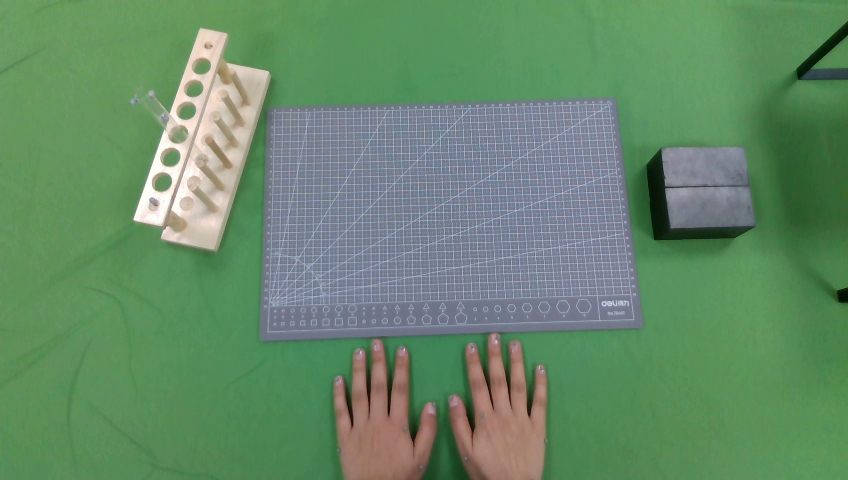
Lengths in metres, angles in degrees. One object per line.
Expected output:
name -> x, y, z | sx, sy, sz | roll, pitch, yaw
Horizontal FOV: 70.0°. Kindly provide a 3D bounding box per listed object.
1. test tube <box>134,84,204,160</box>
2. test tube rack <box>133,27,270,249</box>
test tube -> -0.278, -0.126, 0.673 | 0.017, 0.151, 0.017 | -1, 72, 2
test tube rack -> -0.258, -0.120, 0.722 | 0.067, 0.085, 0.241 | 12, 76, 2
